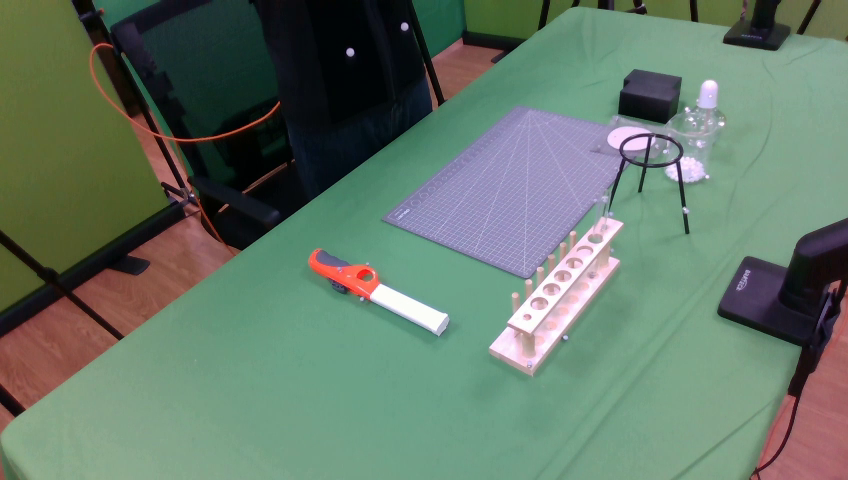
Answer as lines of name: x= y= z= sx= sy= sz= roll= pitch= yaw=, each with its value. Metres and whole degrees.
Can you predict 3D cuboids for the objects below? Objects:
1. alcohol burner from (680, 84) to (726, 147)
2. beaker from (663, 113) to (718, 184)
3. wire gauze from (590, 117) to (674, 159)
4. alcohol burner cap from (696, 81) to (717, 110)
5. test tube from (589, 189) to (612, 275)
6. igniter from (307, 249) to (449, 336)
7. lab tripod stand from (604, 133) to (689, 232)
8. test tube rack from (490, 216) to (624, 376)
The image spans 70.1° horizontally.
alcohol burner: x=0.503 y=-0.228 z=1.085 sx=0.078 sy=0.119 sz=0.077 roll=-4 pitch=42 yaw=4
beaker: x=0.442 y=-0.151 z=1.018 sx=0.084 sy=0.101 sz=0.074 roll=-1 pitch=40 yaw=11
wire gauze: x=0.393 y=-0.192 z=1.139 sx=0.120 sy=0.011 sz=0.125 roll=19 pitch=47 yaw=28
alcohol burner cap: x=0.498 y=-0.256 z=1.062 sx=0.034 sy=0.048 sz=0.033 roll=-6 pitch=33 yaw=4
test tube: x=0.238 y=-0.007 z=0.818 sx=0.017 sy=0.151 sz=0.017 roll=-3 pitch=43 yaw=4
igniter: x=-0.079 y=0.073 z=0.905 sx=0.274 sy=0.025 sz=0.057 roll=23 pitch=60 yaw=32
lab tripod stand: x=0.347 y=-0.086 z=0.932 sx=0.148 sy=0.132 sz=0.147 roll=-4 pitch=40 yaw=4
test tube rack: x=0.184 y=0.064 z=0.822 sx=0.066 sy=0.085 sz=0.243 roll=24 pitch=50 yaw=33
